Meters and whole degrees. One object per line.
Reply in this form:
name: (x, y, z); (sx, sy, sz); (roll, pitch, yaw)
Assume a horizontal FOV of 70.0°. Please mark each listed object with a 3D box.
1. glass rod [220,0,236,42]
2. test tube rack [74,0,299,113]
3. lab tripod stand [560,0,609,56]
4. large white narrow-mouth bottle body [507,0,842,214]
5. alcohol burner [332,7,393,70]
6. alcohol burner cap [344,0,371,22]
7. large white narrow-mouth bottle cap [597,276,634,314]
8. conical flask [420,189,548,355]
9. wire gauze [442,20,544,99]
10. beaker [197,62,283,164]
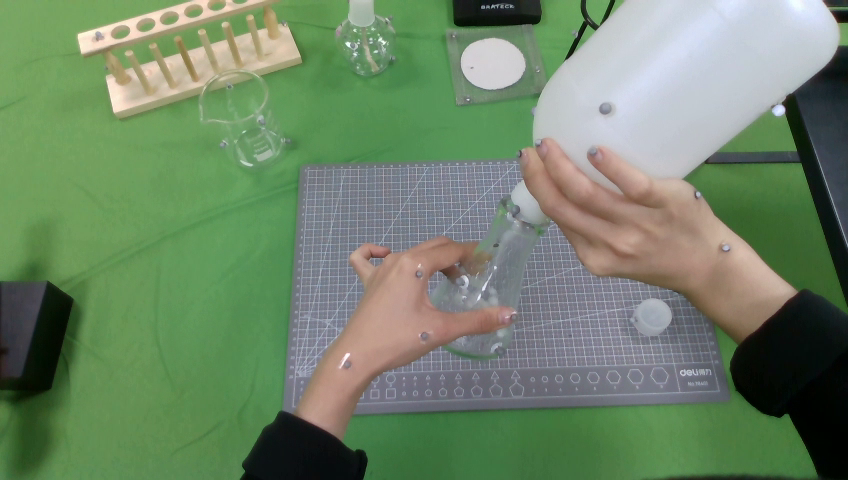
glass rod: (-0.243, -0.307, 0.714); (0.008, 0.201, 0.008); (2, 63, -4)
test tube rack: (-0.289, -0.245, 0.758); (0.242, 0.086, 0.066); (-20, 66, -9)
lab tripod stand: (0.219, -0.235, 0.727); (0.148, 0.132, 0.147); (1, 64, -1)
large white narrow-mouth bottle body: (0.127, -0.084, 0.364); (0.102, 0.195, 0.101); (32, 34, -24)
alcohol burner: (-0.078, -0.271, 0.755); (0.078, 0.120, 0.077); (0, 63, 0)
alcohol burner cap: (-0.078, -0.289, 0.723); (0.034, 0.048, 0.033); (4, 63, -7)
large white narrow-mouth bottle cap: (0.205, 0.060, 0.650); (0.038, 0.024, 0.037); (-1, 64, 2)
conical flask: (0.049, 0.021, 0.447); (0.075, 0.122, 0.074); (15, 36, -11)
wire gauze: (0.091, -0.243, 0.799); (0.121, 0.011, 0.124); (-6, 65, -4)
beaker: (-0.210, -0.140, 0.701); (0.084, 0.101, 0.073); (-41, 70, -17)
